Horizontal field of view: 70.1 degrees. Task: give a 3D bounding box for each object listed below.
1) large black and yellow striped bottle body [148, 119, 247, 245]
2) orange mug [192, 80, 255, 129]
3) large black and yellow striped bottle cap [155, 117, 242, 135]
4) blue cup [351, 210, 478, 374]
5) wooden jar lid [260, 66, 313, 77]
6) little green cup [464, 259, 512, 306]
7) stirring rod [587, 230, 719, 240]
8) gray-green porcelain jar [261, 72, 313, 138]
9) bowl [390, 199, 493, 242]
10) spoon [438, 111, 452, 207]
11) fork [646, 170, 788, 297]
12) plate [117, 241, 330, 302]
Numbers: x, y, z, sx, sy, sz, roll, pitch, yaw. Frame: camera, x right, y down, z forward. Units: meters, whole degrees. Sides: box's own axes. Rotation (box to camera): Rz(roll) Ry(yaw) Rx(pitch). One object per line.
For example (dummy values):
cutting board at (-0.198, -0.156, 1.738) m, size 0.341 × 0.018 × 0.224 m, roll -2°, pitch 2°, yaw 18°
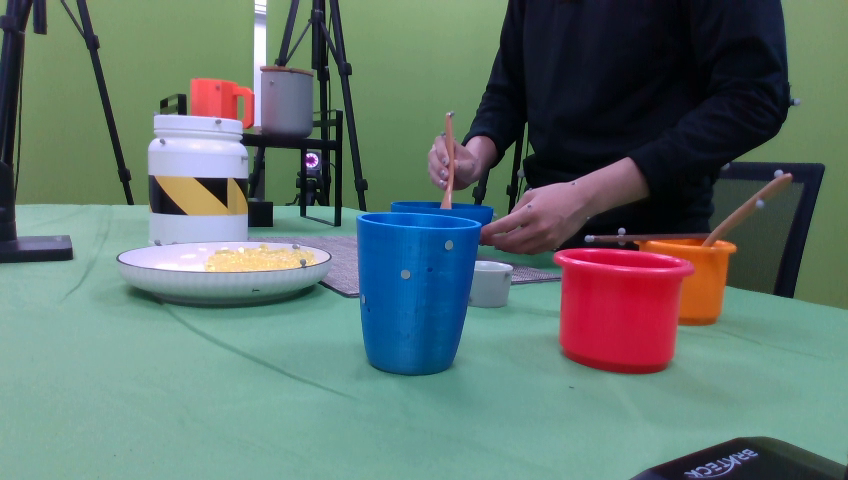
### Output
large black and yellow striped bottle body at (-0.318, -0.076, 0.855) m, size 0.131 × 0.184 × 0.130 m, roll 2°, pitch 7°, yaw 0°
orange mug at (-0.389, -0.257, 1.172) m, size 0.126 × 0.100 × 0.083 m, roll -1°, pitch 6°, yaw 9°
large black and yellow striped bottle cap at (-0.313, -0.159, 0.845) m, size 0.115 × 0.019 × 0.115 m, roll 3°, pitch 9°, yaw 0°
blue cup at (-0.009, 0.034, 0.414) m, size 0.093 × 0.100 × 0.092 m, roll 4°, pitch 8°, yaw 0°
wooden jar lid at (-0.283, -0.339, 1.244) m, size 0.108 × 0.020 × 0.108 m, roll 6°, pitch 9°, yaw -1°
little green cup at (0.057, 0.043, 0.611) m, size 0.061 × 0.038 × 0.061 m, roll 3°, pitch 7°, yaw 0°
stirring rod at (0.226, -0.005, 0.587) m, size 0.177 × 0.006 × 0.014 m, roll -2°, pitch 10°, yaw -29°
gray-green porcelain jar at (-0.284, -0.276, 1.253) m, size 0.106 × 0.126 × 0.106 m, roll 2°, pitch 8°, yaw 0°
bowl at (0.024, -0.016, 0.874) m, size 0.151 × 0.077 × 0.151 m, roll 2°, pitch 8°, yaw 0°
spoon at (0.032, -0.091, 0.866) m, size 0.022 × 0.193 × 0.041 m, roll 8°, pitch -11°, yaw -23°
fork at (0.256, 0.004, 0.543) m, size 0.028 × 0.018 × 0.207 m, roll 3°, pitch -36°, yaw -9°
plate at (-0.203, 0.031, 0.630) m, size 0.209 × 0.038 × 0.209 m, roll 3°, pitch 7°, yaw 0°
